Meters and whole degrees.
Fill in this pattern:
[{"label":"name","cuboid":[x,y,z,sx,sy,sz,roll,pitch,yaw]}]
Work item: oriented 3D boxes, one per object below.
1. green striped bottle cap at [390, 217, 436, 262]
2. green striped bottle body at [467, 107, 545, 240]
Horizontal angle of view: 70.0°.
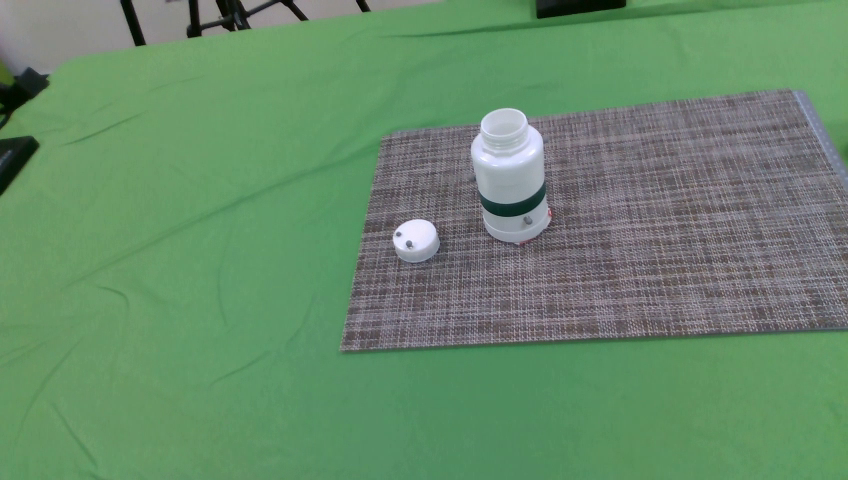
[{"label":"green striped bottle cap","cuboid":[-0.011,-0.001,0.588,0.044,0.020,0.044,-5,48,6]},{"label":"green striped bottle body","cuboid":[0.075,-0.061,0.545,0.063,0.120,0.062,-8,47,9]}]
